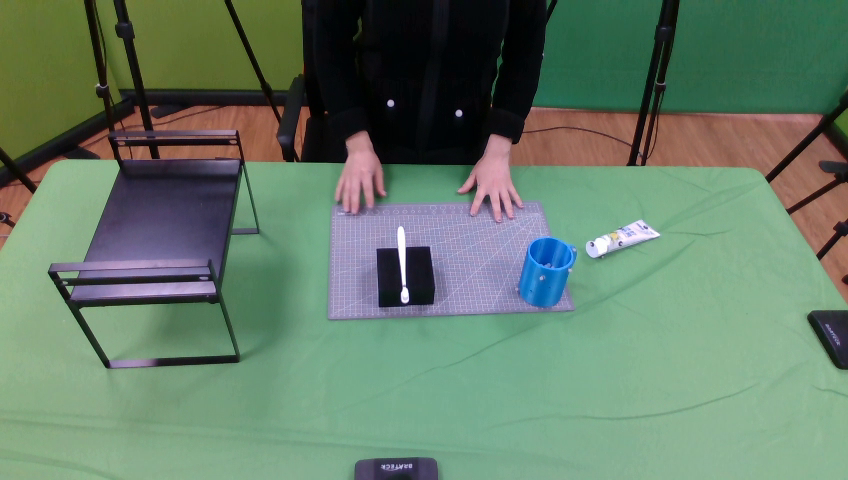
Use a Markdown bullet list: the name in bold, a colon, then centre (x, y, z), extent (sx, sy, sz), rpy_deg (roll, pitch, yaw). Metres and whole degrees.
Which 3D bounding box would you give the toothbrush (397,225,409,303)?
- **toothbrush**: centre (-0.038, 0.038, 1.090), extent (0.014, 0.017, 0.180), rpy_deg (-6, 46, 0)

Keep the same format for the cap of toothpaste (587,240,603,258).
- **cap of toothpaste**: centre (0.337, 0.017, 1.192), extent (0.011, 0.037, 0.037), rpy_deg (-20, 51, -26)

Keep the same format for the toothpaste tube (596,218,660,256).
- **toothpaste tube**: centre (0.405, -0.005, 1.226), extent (0.165, 0.034, 0.054), rpy_deg (-20, 55, -26)

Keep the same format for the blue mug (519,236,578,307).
- **blue mug**: centre (0.234, 0.052, 1.102), extent (0.116, 0.106, 0.082), rpy_deg (-23, 52, -24)
